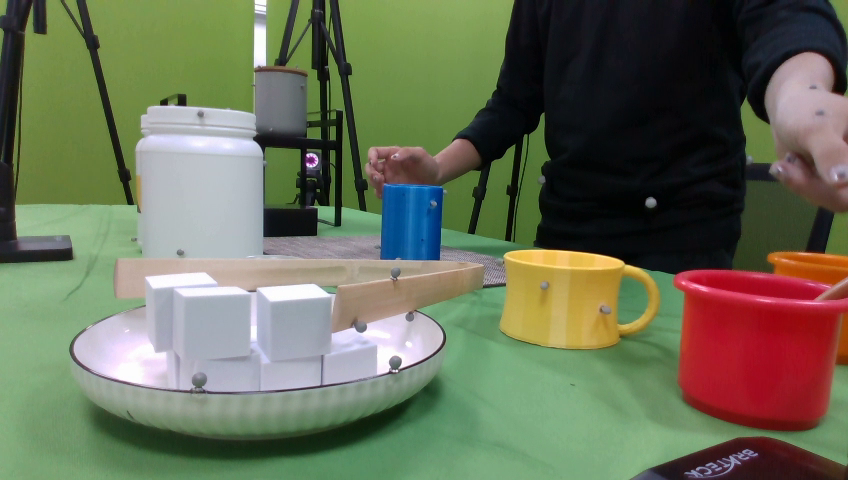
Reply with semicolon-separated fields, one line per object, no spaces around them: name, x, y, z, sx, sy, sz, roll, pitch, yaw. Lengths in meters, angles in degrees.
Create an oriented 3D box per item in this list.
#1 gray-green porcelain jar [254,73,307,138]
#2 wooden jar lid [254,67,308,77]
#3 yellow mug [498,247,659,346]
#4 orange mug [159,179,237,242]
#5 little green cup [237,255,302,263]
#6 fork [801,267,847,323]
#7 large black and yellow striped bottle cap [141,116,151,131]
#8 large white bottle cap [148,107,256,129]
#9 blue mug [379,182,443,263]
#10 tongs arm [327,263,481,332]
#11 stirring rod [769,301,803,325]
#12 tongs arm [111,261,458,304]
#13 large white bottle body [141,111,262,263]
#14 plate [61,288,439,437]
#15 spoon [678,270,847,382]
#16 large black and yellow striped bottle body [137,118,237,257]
gray-green porcelain jar;-0.298;-0.277;1.259;0.106;0.126;0.106;3;8;0
wooden jar lid;-0.296;-0.339;1.251;0.108;0.020;0.108;2;7;0
yellow mug;0.130;0.045;0.508;0.131;0.064;0.100;4;7;6
orange mug;-0.368;-0.051;0.991;0.127;0.101;0.083;-10;14;-41
little green cup;-0.150;0.038;0.590;0.061;0.038;0.061;3;6;0
fork;0.324;0.018;0.441;0.028;0.018;0.207;0;-36;-2
large black and yellow striped bottle cap;-0.329;-0.158;0.837;0.115;0.019;0.115;2;6;0
large white bottle cap;-0.250;-0.137;0.686;0.115;0.018;0.115;2;8;0
blue mug;-0.020;-0.025;0.833;0.082;0.106;0.116;1;7;-6
tongs arm;-0.003;0.036;0.493;0.050;0.026;0.386;1;0;19
stirring rod;0.348;0.021;0.468;0.014;0.006;0.175;-16;-23;-51
tongs arm;-0.080;0.032;0.527;0.028;0.027;0.389;-3;-3;33
large white bottle body;-0.254;-0.053;0.697;0.131;0.184;0.130;2;7;0
plate;-0.095;0.069;0.362;0.208;0.039;0.207;3;7;0
spoon;0.229;0.031;0.338;0.193;0.021;0.042;-44;-17;27
large black and yellow striped bottle body;-0.330;-0.075;0.849;0.131;0.184;0.130;2;8;0
